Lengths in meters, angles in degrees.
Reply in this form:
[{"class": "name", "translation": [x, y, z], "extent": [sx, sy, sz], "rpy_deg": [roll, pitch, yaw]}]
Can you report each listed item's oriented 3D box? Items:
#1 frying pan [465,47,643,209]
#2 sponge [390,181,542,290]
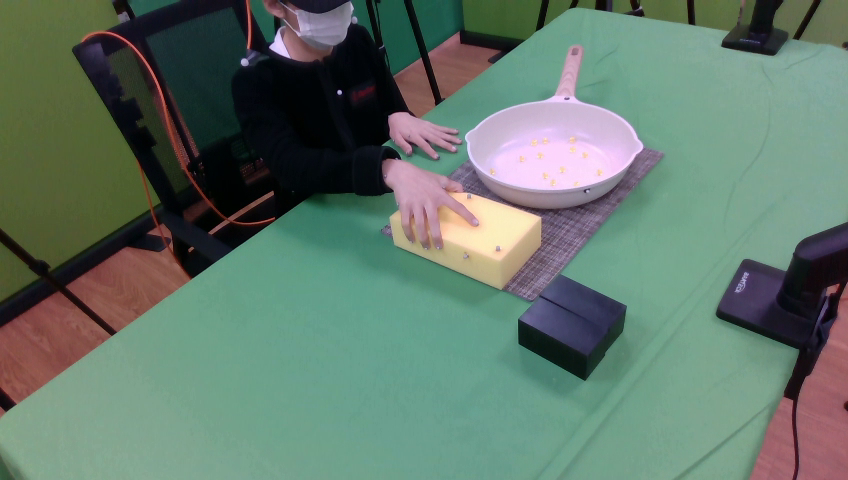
[{"class": "frying pan", "translation": [0.255, -0.227, 1.135], "extent": [0.305, 0.103, 0.487], "rpy_deg": [9, 51, 17]}, {"class": "sponge", "translation": [0.065, -0.012, 0.945], "extent": [0.205, 0.061, 0.118], "rpy_deg": [21, 48, 30]}]
